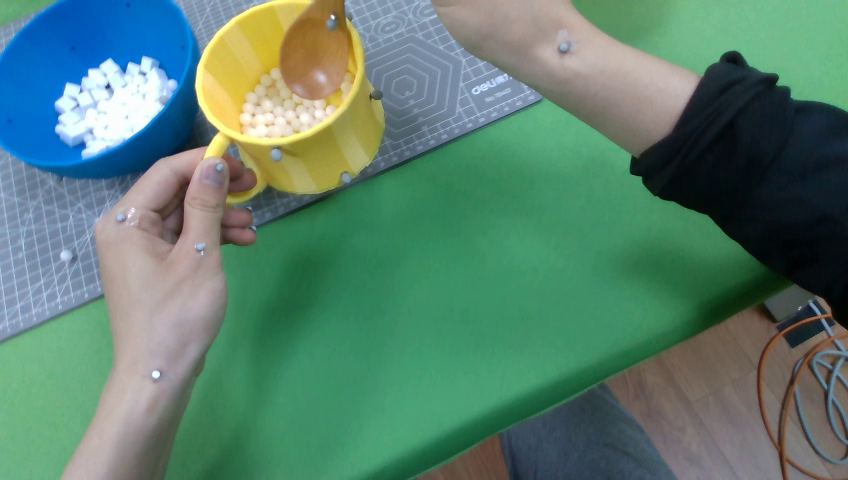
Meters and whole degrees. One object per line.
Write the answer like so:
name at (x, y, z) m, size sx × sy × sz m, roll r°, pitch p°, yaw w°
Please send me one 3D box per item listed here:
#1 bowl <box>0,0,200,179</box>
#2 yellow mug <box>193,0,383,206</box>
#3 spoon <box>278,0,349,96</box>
bowl at (-0.224, -0.101, 0.445) m, size 0.151 × 0.077 × 0.150 m, roll -3°, pitch 68°, yaw 7°
yellow mug at (-0.089, -0.076, 0.372) m, size 0.099 × 0.064 × 0.130 m, roll 32°, pitch 78°, yaw 16°
spoon at (-0.039, -0.147, 0.307) m, size 0.042 × 0.194 × 0.021 m, roll 22°, pitch 53°, yaw -11°
